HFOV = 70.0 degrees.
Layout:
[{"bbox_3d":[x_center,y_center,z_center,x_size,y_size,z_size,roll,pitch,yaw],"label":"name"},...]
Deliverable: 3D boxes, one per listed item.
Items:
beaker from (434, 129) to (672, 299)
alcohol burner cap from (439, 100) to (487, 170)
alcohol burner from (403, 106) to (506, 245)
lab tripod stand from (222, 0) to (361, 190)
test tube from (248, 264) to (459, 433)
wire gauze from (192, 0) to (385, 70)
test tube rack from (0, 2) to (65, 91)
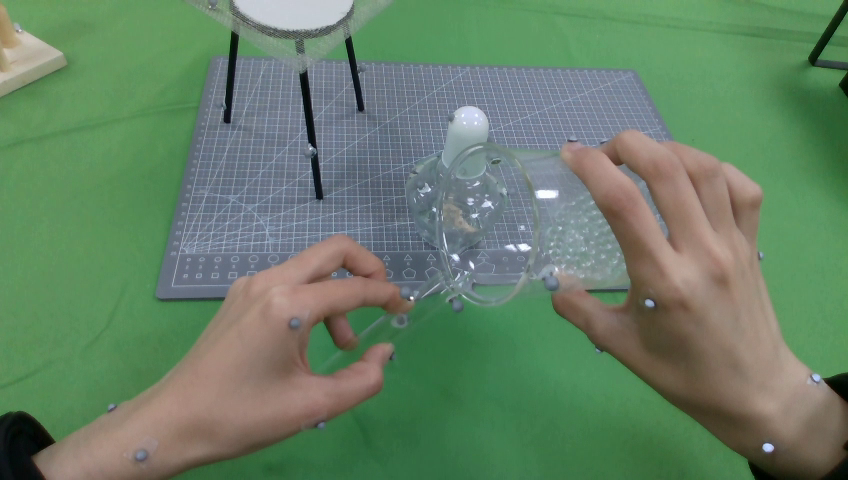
[{"bbox_3d":[0.065,-0.010,0.301,0.101,0.084,0.073,-4,50,-33],"label":"beaker"},{"bbox_3d":[0.029,-0.074,0.419,0.034,0.048,0.033,2,54,-2],"label":"alcohol burner cap"},{"bbox_3d":[0.025,-0.052,0.448,0.078,0.120,0.077,5,49,-5],"label":"alcohol burner"},{"bbox_3d":[-0.101,-0.135,0.487,0.148,0.132,0.147,5,50,-6],"label":"lab tripod stand"},{"bbox_3d":[-0.042,0.061,0.324,0.150,0.017,0.017,-39,52,18],"label":"test tube"},{"bbox_3d":[-0.097,-0.178,0.435,0.124,0.011,0.121,31,54,16],"label":"wire gauze"},{"bbox_3d":[-0.431,-0.142,0.484,0.066,0.086,0.241,30,53,17],"label":"test tube rack"}]
